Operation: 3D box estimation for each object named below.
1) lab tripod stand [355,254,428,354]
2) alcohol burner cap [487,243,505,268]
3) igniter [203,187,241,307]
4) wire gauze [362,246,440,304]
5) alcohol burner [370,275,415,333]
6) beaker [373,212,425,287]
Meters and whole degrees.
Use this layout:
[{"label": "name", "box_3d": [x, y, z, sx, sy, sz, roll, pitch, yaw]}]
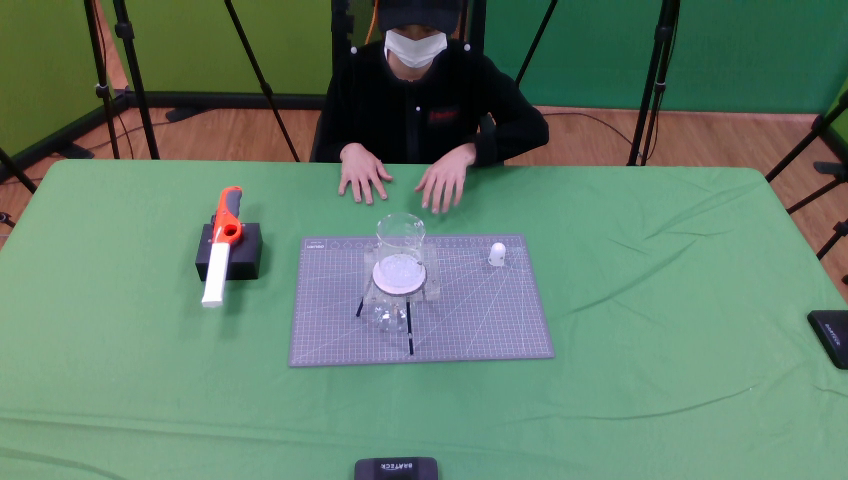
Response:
[{"label": "lab tripod stand", "box_3d": [-0.046, 0.100, 1.017, 0.148, 0.132, 0.147, 1, 47, -1]}, {"label": "alcohol burner cap", "box_3d": [0.141, 0.027, 1.166, 0.034, 0.048, 0.033, 2, 45, -2]}, {"label": "igniter", "box_3d": [-0.365, 0.003, 1.098, 0.057, 0.025, 0.274, -1, 49, -7]}, {"label": "wire gauze", "box_3d": [-0.038, 0.052, 0.972, 0.121, 0.011, 0.124, 0, 44, -5]}, {"label": "alcohol burner", "box_3d": [-0.054, 0.103, 1.026, 0.078, 0.120, 0.077, 1, 44, -1]}, {"label": "beaker", "box_3d": [-0.036, 0.019, 0.936, 0.074, 0.101, 0.083, -29, 54, -26]}]
